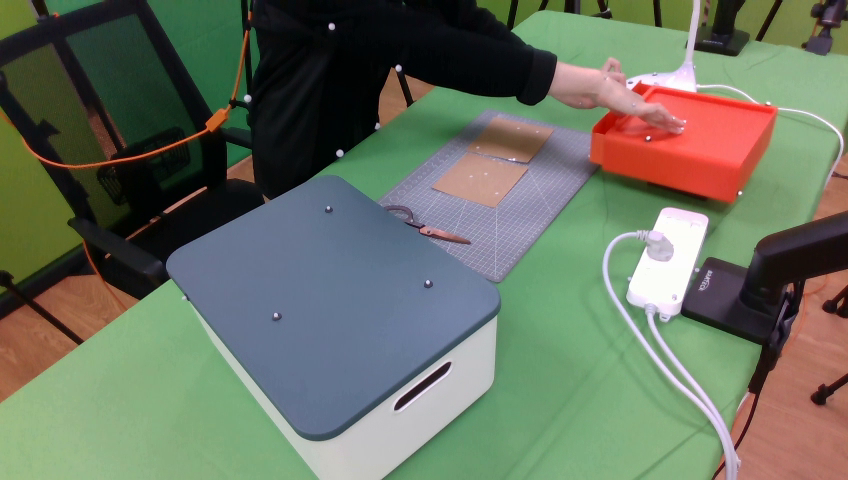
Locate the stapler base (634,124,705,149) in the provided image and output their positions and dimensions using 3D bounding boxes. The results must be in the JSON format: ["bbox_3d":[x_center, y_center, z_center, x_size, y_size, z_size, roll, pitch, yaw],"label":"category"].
[{"bbox_3d":[0.419,-0.180,1.034,0.131,0.024,0.041,-16,21,-20],"label":"stapler base"}]

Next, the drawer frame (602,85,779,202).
[{"bbox_3d":[0.437,-0.168,1.000,0.212,0.083,0.202,22,47,32],"label":"drawer frame"}]

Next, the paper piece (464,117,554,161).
[{"bbox_3d":[0.170,-0.200,1.195,0.137,0.009,0.136,17,43,27],"label":"paper piece"}]

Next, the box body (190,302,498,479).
[{"bbox_3d":[-0.110,0.103,0.761,0.255,0.161,0.361,-33,46,-27],"label":"box body"}]

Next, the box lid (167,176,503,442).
[{"bbox_3d":[-0.119,0.047,0.714,0.264,0.015,0.368,-32,47,-27],"label":"box lid"}]

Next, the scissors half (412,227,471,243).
[{"bbox_3d":[-0.007,-0.010,0.993,0.174,0.013,0.040,8,47,15],"label":"scissors half"}]

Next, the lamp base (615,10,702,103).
[{"bbox_3d":[0.484,-0.364,1.211,0.180,0.181,0.159,-15,41,-14],"label":"lamp base"}]

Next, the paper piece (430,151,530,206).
[{"bbox_3d":[0.104,-0.116,1.104,0.135,0.004,0.136,21,47,29],"label":"paper piece"}]

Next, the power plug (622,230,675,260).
[{"bbox_3d":[0.327,0.007,0.878,0.072,0.053,0.035,25,50,32],"label":"power plug"}]

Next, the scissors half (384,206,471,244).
[{"bbox_3d":[0.001,-0.024,1.005,0.174,0.013,0.040,22,58,25],"label":"scissors half"}]

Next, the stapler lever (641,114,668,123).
[{"bbox_3d":[0.416,-0.202,1.028,0.118,0.040,0.026,-19,22,-19],"label":"stapler lever"}]

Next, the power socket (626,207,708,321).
[{"bbox_3d":[0.360,0.026,0.886,0.072,0.033,0.227,16,46,26],"label":"power socket"}]

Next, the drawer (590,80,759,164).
[{"bbox_3d":[0.415,-0.178,1.010,0.210,0.073,0.195,24,48,31],"label":"drawer"}]
